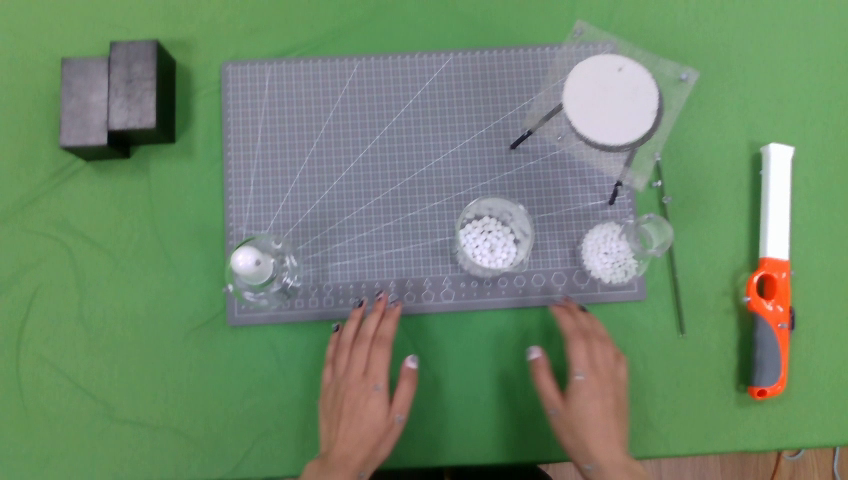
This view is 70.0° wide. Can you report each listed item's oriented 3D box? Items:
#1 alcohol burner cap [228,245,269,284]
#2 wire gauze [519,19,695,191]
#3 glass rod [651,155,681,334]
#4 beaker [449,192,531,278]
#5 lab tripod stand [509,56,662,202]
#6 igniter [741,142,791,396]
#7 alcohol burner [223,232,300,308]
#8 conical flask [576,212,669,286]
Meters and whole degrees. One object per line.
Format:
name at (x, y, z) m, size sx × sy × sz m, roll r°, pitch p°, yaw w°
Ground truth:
alcohol burner cap at (-0.164, 0.021, 0.562) m, size 0.034 × 0.048 × 0.033 m, roll 1°, pitch 75°, yaw -3°
wire gauze at (0.165, -0.126, 0.547) m, size 0.125 × 0.011 × 0.121 m, roll 29°, pitch 84°, yaw 4°
glass rod at (0.264, 0.003, 0.664) m, size 0.008 × 0.008 × 0.199 m, roll -4°, pitch 82°, yaw -2°
beaker at (0.065, 0.002, 0.612) m, size 0.074 × 0.100 × 0.084 m, roll -39°, pitch 84°, yaw -5°
lab tripod stand at (0.168, -0.114, 0.613) m, size 0.148 × 0.132 × 0.148 m, roll 0°, pitch 83°, yaw 1°
igniter at (0.370, 0.029, 0.652) m, size 0.057 × 0.025 × 0.275 m, roll 9°, pitch 81°, yaw -10°
alcohol burner at (-0.165, 0.028, 0.598) m, size 0.078 × 0.119 × 0.077 m, roll 0°, pitch 82°, yaw 1°
conical flask at (0.202, 0.003, 0.602) m, size 0.075 × 0.122 × 0.075 m, roll 0°, pitch 81°, yaw 0°
